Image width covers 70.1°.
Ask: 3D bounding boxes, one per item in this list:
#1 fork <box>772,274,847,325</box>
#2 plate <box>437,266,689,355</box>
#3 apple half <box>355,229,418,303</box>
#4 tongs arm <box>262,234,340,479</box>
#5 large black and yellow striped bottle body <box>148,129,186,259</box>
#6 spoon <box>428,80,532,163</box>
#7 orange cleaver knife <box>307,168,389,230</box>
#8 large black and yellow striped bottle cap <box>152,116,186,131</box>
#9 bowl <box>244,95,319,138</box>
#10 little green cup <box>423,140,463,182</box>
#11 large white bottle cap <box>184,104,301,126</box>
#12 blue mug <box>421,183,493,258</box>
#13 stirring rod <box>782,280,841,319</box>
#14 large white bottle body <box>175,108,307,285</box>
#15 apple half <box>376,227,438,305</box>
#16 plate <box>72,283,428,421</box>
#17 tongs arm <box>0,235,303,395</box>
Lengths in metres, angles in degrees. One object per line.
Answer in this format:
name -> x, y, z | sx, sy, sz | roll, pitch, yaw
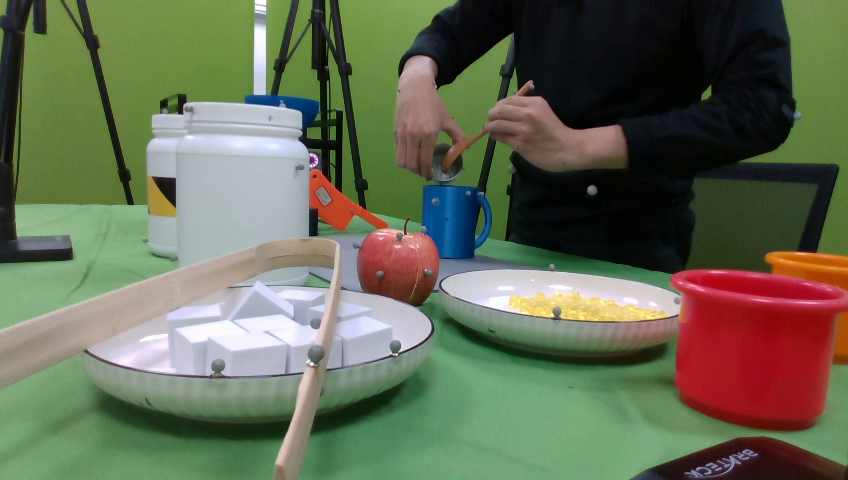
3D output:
fork -> 0.332, 0.018, 0.443 | 0.028, 0.018, 0.207 | -1, -36, -15
plate -> 0.114, 0.057, 0.517 | 0.209, 0.038, 0.209 | 3, 7, 0
apple half -> -0.044, 0.027, 0.564 | 0.081, 0.081, 0.033 | 9, 5, 42
tongs arm -> -0.074, 0.039, 0.349 | 0.051, 0.026, 0.384 | -2, 10, -3
large black and yellow striped bottle body -> -0.310, -0.073, 0.838 | 0.131, 0.184, 0.130 | 2, 8, 0
spoon -> 0.077, -0.169, 0.871 | 0.193, 0.021, 0.041 | -30, 14, 26
orange cleaver knife -> -0.158, -0.060, 1.166 | 0.212, 0.077, 0.012 | 34, -12, -32
large black and yellow striped bottle cap -> -0.309, -0.155, 0.826 | 0.115, 0.019, 0.115 | 3, 6, 0
bowl -> -0.293, -0.251, 1.249 | 0.151, 0.077, 0.151 | 2, 7, 0
little green cup -> 0.029, -0.120, 0.935 | 0.061, 0.061, 0.038 | 2, -14, 1
large white bottle cap -> -0.184, -0.126, 0.618 | 0.115, 0.018, 0.115 | 2, 8, 0
blue mug -> 0.052, -0.032, 0.912 | 0.117, 0.106, 0.082 | -1, 8, -24
stirring rod -> 0.344, 0.019, 0.460 | 0.014, 0.006, 0.176 | -13, -27, -30
large white bottle body -> -0.188, -0.042, 0.630 | 0.131, 0.184, 0.130 | 2, 8, 0
apple half -> -0.017, 0.025, 0.593 | 0.080, 0.074, 0.053 | 4, 2, 43
plate -> -0.102, 0.066, 0.381 | 0.208, 0.039, 0.207 | 2, 7, 0
tongs arm -> -0.157, 0.038, 0.351 | 0.028, 0.028, 0.388 | -3, 9, 12
